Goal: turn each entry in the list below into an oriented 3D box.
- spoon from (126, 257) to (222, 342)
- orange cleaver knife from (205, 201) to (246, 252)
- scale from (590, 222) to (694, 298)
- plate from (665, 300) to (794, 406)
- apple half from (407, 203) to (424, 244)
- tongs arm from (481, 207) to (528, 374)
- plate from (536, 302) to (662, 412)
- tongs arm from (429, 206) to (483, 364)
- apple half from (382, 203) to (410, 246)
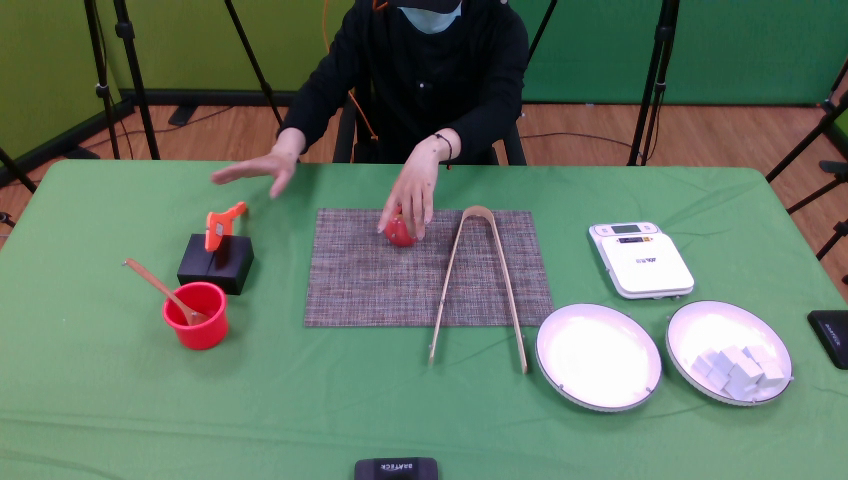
[{"bbox_3d":[-0.408,0.096,0.990,0.194,0.021,0.041,50,53,-18],"label":"spoon"},{"bbox_3d":[-0.374,-0.029,1.149,0.012,0.077,0.211,5,13,0],"label":"orange cleaver knife"},{"bbox_3d":[0.424,0.031,1.189,0.149,0.032,0.199,-3,46,-7],"label":"scale"},{"bbox_3d":[0.513,0.194,1.034,0.208,0.039,0.206,2,46,-2],"label":"plate"},{"bbox_3d":[-0.015,-0.032,1.184,0.033,0.082,0.081,-3,46,-2],"label":"apple half"},{"bbox_3d":[0.149,0.078,1.124,0.028,0.028,0.385,-4,46,-2],"label":"tongs arm"},{"bbox_3d":[0.288,0.197,1.016,0.209,0.038,0.208,2,46,-2],"label":"plate"},{"bbox_3d":[0.064,0.069,1.124,0.051,0.026,0.382,8,45,5],"label":"tongs arm"},{"bbox_3d":[-0.054,-0.029,1.181,0.053,0.075,0.080,-3,49,-2],"label":"apple half"}]
